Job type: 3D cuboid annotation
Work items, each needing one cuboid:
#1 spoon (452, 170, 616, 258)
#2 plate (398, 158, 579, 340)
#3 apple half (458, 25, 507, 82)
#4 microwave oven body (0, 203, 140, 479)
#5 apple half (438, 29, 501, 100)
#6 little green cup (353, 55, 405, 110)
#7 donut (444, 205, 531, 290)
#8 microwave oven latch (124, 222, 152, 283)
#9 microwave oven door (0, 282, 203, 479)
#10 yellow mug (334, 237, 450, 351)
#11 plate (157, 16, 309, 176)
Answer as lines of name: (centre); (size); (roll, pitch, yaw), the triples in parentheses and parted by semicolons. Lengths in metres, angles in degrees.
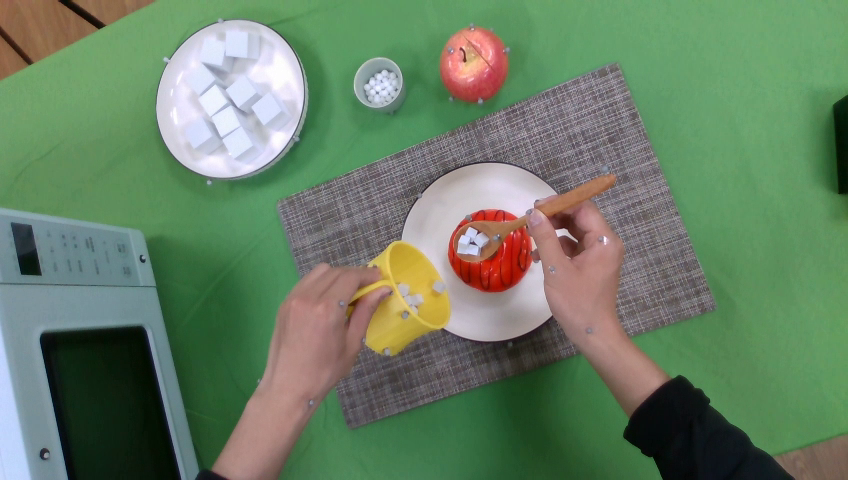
spoon: (0.094, -0.022, 0.557); (0.193, 0.021, 0.041); (-25, 95, 50)
plate: (0.073, 0.010, 0.702); (0.209, 0.038, 0.208); (-1, 86, 12)
apple half: (0.075, -0.221, 0.702); (0.033, 0.081, 0.081); (-41, 79, 10)
microwave oven body: (-0.485, 0.222, 0.691); (0.326, 0.261, 0.440); (-17, 83, 10)
apple half: (0.047, -0.196, 0.707); (0.053, 0.075, 0.080); (-41, 82, 11)
little green cup: (-0.053, -0.191, 0.745); (0.061, 0.039, 0.061); (-1, 86, 12)
donut: (0.073, 0.008, 0.690); (0.099, 0.048, 0.099); (0, 88, 13)
microwave oven latch: (-0.375, 0.017, 0.780); (0.030, 0.029, 0.079); (-15, 84, 10)
microwave oven door: (-0.338, 0.219, 0.655); (0.039, 0.245, 0.354); (-18, 82, 10)
yellow mug: (-0.037, 0.055, 0.601); (0.064, 0.132, 0.099); (-32, 71, 26)
plate: (-0.243, -0.183, 0.784); (0.207, 0.039, 0.207); (-1, 86, 12)
